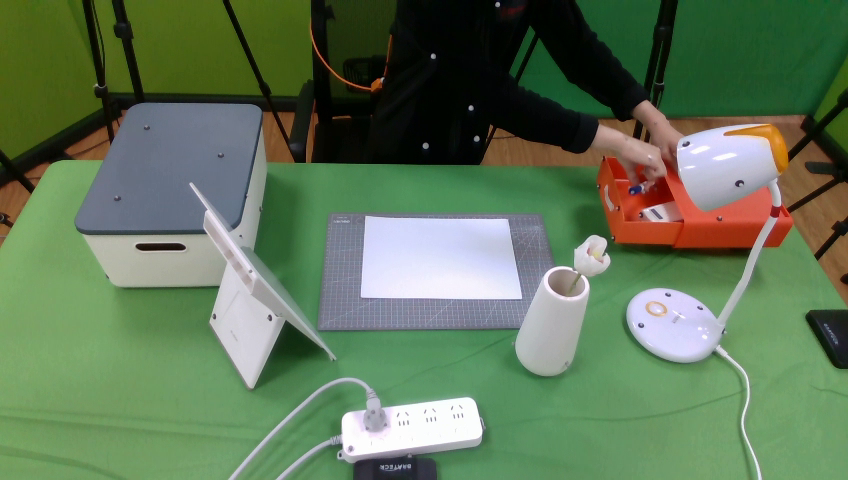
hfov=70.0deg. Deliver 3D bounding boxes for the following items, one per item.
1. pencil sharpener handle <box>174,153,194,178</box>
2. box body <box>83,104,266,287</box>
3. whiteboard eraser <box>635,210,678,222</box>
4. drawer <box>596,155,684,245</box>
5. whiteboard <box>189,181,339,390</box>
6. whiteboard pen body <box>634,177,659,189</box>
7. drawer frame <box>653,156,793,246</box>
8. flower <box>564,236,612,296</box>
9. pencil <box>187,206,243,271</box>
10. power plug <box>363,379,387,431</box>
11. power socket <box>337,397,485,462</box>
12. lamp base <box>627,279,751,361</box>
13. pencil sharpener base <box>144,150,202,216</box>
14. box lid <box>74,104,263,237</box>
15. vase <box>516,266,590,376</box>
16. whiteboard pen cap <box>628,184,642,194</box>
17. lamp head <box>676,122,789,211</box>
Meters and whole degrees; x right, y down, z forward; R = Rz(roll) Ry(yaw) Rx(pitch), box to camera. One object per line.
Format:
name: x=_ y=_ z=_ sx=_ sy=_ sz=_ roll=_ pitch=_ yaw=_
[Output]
pencil sharpener handle: x=-0.479 y=-0.156 z=1.225 sx=0.036 sy=0.068 sz=0.030 roll=24 pitch=47 yaw=2
box body: x=-0.447 y=-0.088 z=1.150 sx=0.254 sy=0.161 sz=0.361 roll=-1 pitch=46 yaw=-5
whiteboard eraser: x=0.474 y=-0.025 z=1.205 sx=0.113 sy=0.042 sz=0.055 roll=11 pitch=31 yaw=-33
drawer: x=0.468 y=-0.080 z=1.212 sx=0.212 sy=0.073 sz=0.193 roll=3 pitch=45 yaw=-3
whiteboard: x=-0.292 y=0.096 z=0.929 sx=0.144 sy=0.307 sz=0.216 roll=-37 pitch=57 yaw=-10
whiteboard pen body: x=0.442 y=-0.111 z=1.214 sx=0.017 sy=0.017 sz=0.141 roll=38 pitch=32 yaw=28
drawer frame: x=0.579 y=-0.080 z=1.215 sx=0.214 sy=0.083 sz=0.200 roll=0 pitch=45 yaw=-2
flower: x=0.206 y=0.088 z=0.892 sx=0.038 sy=0.363 sz=0.044 roll=-17 pitch=67 yaw=-10
pencil: x=-0.401 y=-0.009 z=1.176 sx=0.012 sy=0.012 sz=0.193 roll=15 pitch=44 yaw=10
power plug: x=-0.072 y=0.252 z=0.910 sx=0.035 sy=0.053 sz=0.072 roll=3 pitch=44 yaw=-1
power socket: x=-0.018 y=0.285 z=0.915 sx=0.227 sy=0.033 sz=0.071 roll=-5 pitch=46 yaw=-8
lamp base: x=0.459 y=0.100 z=1.027 sx=0.178 sy=0.181 sz=0.160 roll=27 pitch=51 yaw=17
pencil sharpener base: x=-0.493 y=-0.113 z=1.199 sx=0.061 sy=0.107 sz=0.076 roll=15 pitch=46 yaw=12
box lid: x=-0.443 y=-0.139 z=1.095 sx=0.263 sy=0.015 sz=0.369 roll=-1 pitch=45 yaw=-5
vase: x=0.208 y=0.132 z=0.964 sx=0.098 sy=0.201 sz=0.097 roll=3 pitch=46 yaw=-3
whiteboard pen cap: x=0.407 y=-0.098 z=1.167 sx=0.018 sy=0.018 sz=0.033 roll=35 pitch=32 yaw=26
lamp head: x=0.423 y=-0.104 z=0.819 sx=0.122 sy=0.113 sz=0.112 roll=-13 pitch=33 yaw=40
